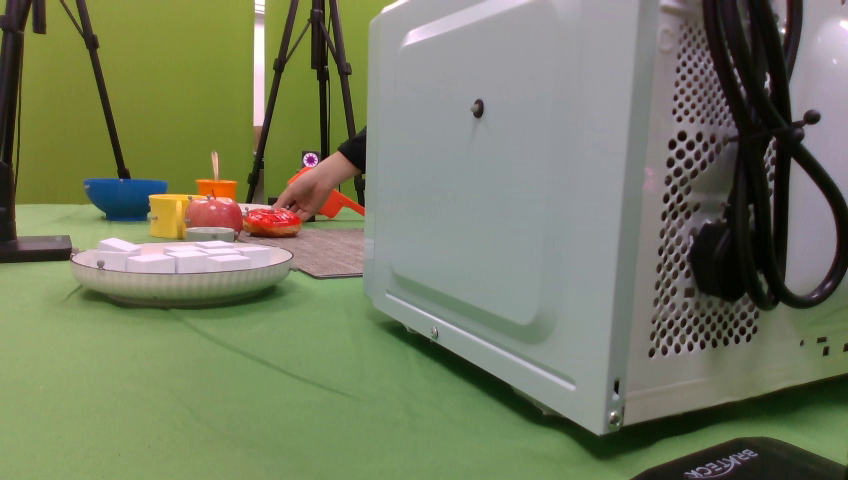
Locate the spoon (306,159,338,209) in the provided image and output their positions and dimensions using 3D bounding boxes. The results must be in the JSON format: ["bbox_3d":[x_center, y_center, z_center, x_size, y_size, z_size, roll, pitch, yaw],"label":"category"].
[{"bbox_3d":[-0.257,-0.147,1.567,0.041,0.022,0.193,2,50,19],"label":"spoon"}]

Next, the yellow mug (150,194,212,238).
[{"bbox_3d":[-0.401,-0.039,1.003,0.100,0.064,0.130,0,9,-20],"label":"yellow mug"}]

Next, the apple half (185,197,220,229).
[{"bbox_3d":[-0.338,-0.031,0.927,0.032,0.081,0.081,12,12,31],"label":"apple half"}]

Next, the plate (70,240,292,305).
[{"bbox_3d":[-0.242,0.031,0.618,0.208,0.039,0.207,2,8,0],"label":"plate"}]

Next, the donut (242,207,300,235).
[{"bbox_3d":[-0.263,-0.032,1.039,0.099,0.048,0.099,4,9,0],"label":"donut"}]

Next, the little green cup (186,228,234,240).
[{"bbox_3d":[-0.284,0.005,0.805,0.061,0.038,0.061,2,8,0],"label":"little green cup"}]

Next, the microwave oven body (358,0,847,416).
[{"bbox_3d":[0.211,-0.047,0.474,0.444,0.260,0.324,-1,7,-28],"label":"microwave oven body"}]

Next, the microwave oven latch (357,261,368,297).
[{"bbox_3d":[-0.019,0.033,0.531,0.079,0.029,0.030,-1,7,-27],"label":"microwave oven latch"}]

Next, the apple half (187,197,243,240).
[{"bbox_3d":[-0.305,-0.026,0.907,0.053,0.074,0.081,12,8,31],"label":"apple half"}]

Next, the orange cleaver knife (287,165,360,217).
[{"bbox_3d":[-0.211,-0.092,1.382,0.212,0.077,0.012,34,2,-15],"label":"orange cleaver knife"}]

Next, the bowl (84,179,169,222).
[{"bbox_3d":[-0.584,-0.078,1.194,0.151,0.077,0.151,3,8,0],"label":"bowl"}]

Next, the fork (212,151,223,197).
[{"bbox_3d":[-0.494,-0.143,1.442,0.028,0.018,0.206,-1,52,-20],"label":"fork"}]

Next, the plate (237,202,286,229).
[{"bbox_3d":[-0.376,-0.048,1.183,0.209,0.038,0.209,2,8,0],"label":"plate"}]

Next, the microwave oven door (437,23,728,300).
[{"bbox_3d":[0.181,-0.072,0.621,0.358,0.243,0.039,-2,8,-29],"label":"microwave oven door"}]
